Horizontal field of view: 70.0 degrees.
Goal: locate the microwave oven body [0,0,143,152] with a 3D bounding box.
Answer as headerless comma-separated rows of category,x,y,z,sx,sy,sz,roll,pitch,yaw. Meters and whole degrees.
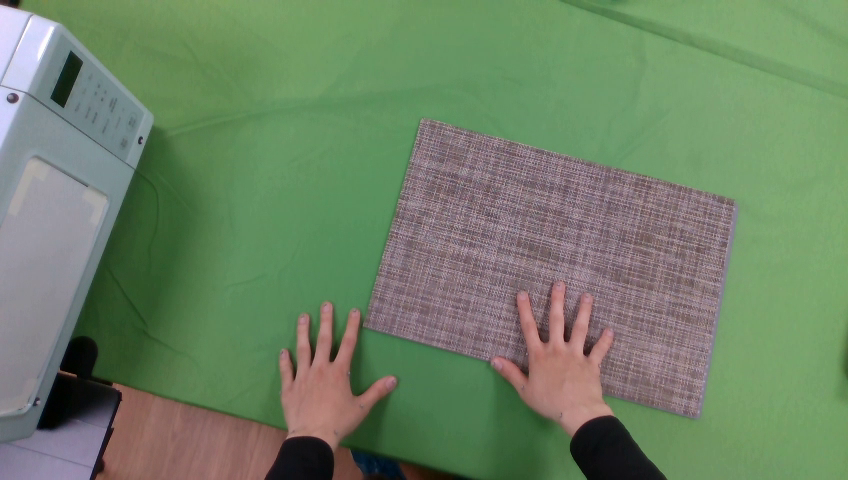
microwave oven body,-0.571,-0.038,0.666,0.326,0.261,0.440,16,81,0

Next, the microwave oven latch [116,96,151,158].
microwave oven latch,-0.384,-0.149,0.789,0.030,0.029,0.079,18,81,1

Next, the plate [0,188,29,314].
plate,-0.569,0.018,0.715,0.209,0.038,0.208,1,82,-3

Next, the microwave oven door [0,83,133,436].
microwave oven door,-0.442,0.040,0.653,0.039,0.244,0.354,15,80,1
